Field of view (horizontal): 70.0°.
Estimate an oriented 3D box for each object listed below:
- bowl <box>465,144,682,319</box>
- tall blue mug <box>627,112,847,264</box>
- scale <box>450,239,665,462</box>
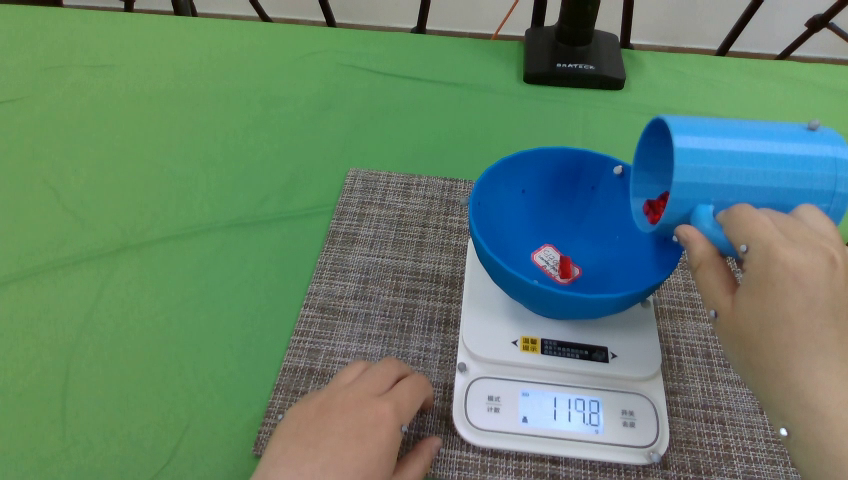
[{"bbox_3d":[0.102,0.006,0.449,0.151,0.077,0.150,2,48,-1],"label":"bowl"},{"bbox_3d":[0.197,-0.035,0.376,0.108,0.078,0.106,4,14,-1],"label":"tall blue mug"},{"bbox_3d":[0.101,0.065,0.468,0.148,0.032,0.199,6,48,4],"label":"scale"}]
